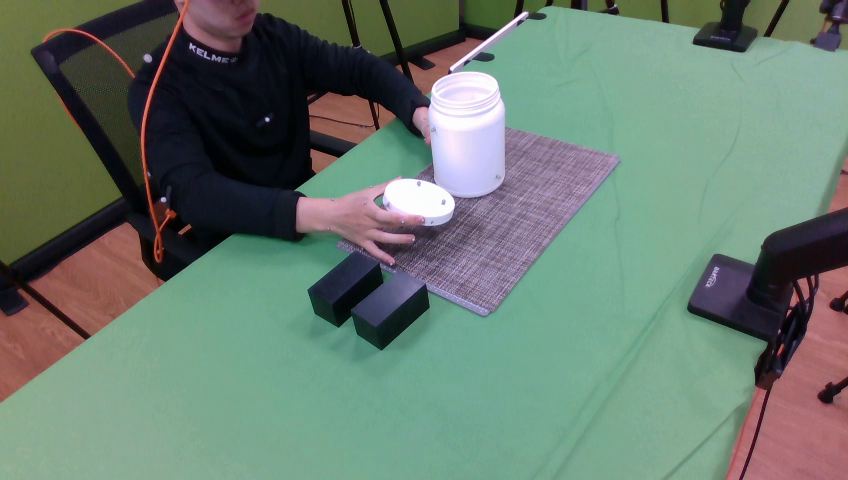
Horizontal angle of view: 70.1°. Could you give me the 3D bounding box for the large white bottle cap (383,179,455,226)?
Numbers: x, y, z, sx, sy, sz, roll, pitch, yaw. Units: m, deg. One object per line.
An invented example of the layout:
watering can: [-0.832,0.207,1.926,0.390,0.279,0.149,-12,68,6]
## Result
large white bottle cap: [-0.008,-0.061,0.954,0.115,0.018,0.114,11,33,-6]

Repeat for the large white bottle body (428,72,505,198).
large white bottle body: [0.075,-0.180,1.036,0.130,0.185,0.130,-3,41,3]
